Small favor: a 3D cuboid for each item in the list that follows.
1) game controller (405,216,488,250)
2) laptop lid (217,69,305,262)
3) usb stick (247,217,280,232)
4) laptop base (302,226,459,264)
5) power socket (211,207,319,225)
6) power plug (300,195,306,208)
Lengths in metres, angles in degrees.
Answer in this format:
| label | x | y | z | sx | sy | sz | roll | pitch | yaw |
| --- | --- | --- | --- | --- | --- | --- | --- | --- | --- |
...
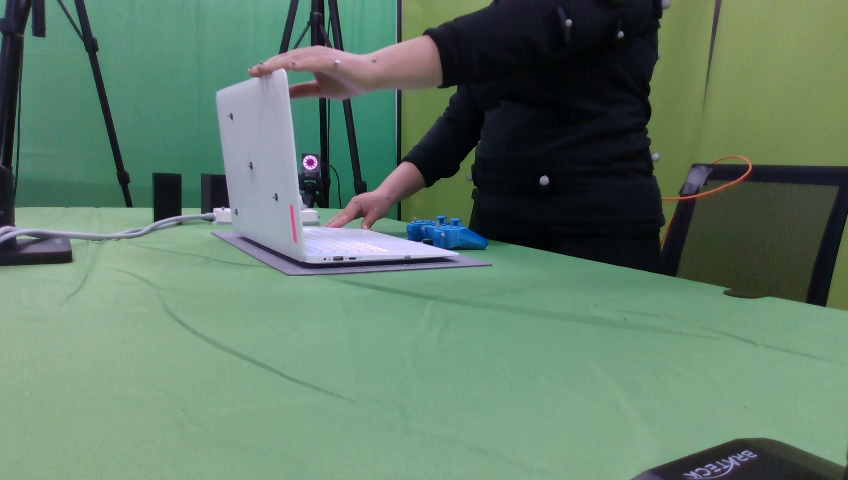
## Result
| label | x | y | z | sx | sy | sz | roll | pitch | yaw |
| --- | --- | --- | --- | --- | --- | --- | --- | --- | --- |
| game controller | 0.034 | -0.013 | 1.067 | 0.097 | 0.051 | 0.154 | -7 | 10 | -29 |
| laptop lid | -0.245 | -0.107 | 0.867 | 0.013 | 0.241 | 0.355 | -9 | 14 | -30 |
| usb stick | -0.296 | -0.028 | 1.114 | 0.059 | 0.027 | 0.021 | -4 | 12 | -31 |
| laptop base | -0.136 | 0.006 | 0.951 | 0.237 | 0.023 | 0.352 | 2 | 6 | -32 |
| power socket | -0.334 | -0.051 | 1.281 | 0.228 | 0.032 | 0.072 | -1 | 9 | -29 |
| power plug | -0.283 | -0.075 | 1.342 | 0.035 | 0.052 | 0.072 | 0 | 3 | -18 |
